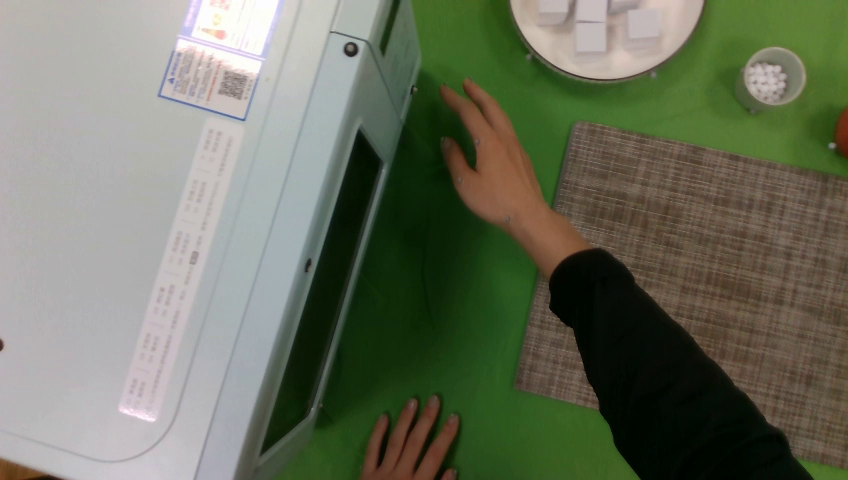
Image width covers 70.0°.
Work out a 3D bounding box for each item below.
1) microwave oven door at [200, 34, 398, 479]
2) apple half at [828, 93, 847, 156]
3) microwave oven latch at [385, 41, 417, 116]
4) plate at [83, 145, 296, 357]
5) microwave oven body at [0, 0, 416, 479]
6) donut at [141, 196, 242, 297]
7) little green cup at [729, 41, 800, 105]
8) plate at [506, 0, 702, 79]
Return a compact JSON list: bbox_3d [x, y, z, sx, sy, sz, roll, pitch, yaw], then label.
[{"bbox_3d":[-0.099,0.029,0.539,0.039,0.244,0.355,16,89,4],"label":"microwave oven door"},{"bbox_3d":[0.445,-0.117,0.616,0.053,0.075,0.081,-13,90,8],"label":"apple half"},{"bbox_3d":[-0.028,-0.175,0.644,0.030,0.029,0.079,14,90,4],"label":"microwave oven latch"},{"bbox_3d":[-0.229,0.011,0.604,0.209,0.038,0.209,0,89,3],"label":"plate"},{"bbox_3d":[-0.227,-0.051,0.555,0.326,0.260,0.441,16,89,3],"label":"microwave oven body"},{"bbox_3d":[-0.226,0.007,0.590,0.099,0.048,0.099,0,89,5],"label":"donut"},{"bbox_3d":[0.356,-0.173,0.640,0.061,0.038,0.061,0,88,4],"label":"little green cup"},{"bbox_3d":[0.190,-0.273,0.653,0.207,0.039,0.207,0,88,3],"label":"plate"}]
